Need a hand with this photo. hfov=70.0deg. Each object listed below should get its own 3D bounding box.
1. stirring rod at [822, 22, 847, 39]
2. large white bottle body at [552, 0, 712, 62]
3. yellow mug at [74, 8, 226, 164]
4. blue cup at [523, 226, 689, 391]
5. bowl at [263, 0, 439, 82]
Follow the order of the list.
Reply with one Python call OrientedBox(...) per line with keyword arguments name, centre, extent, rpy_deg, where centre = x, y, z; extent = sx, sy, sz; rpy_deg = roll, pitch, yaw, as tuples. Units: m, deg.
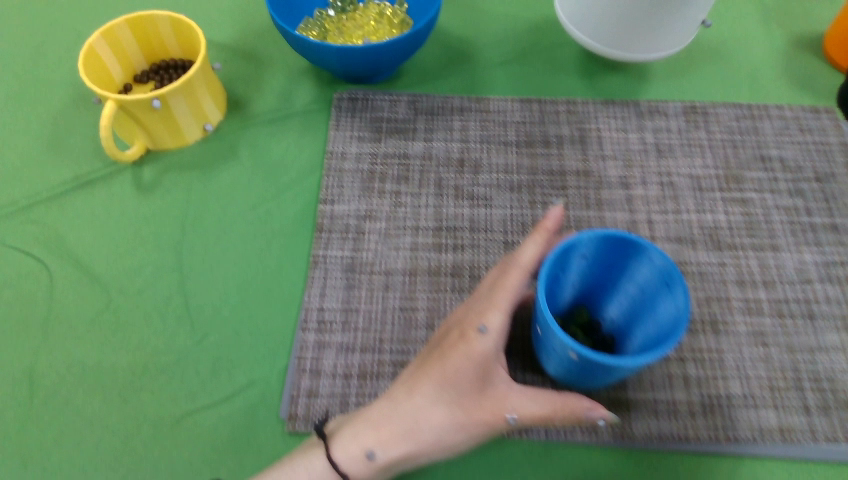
OrientedBox(name="stirring rod", centre=(0.441, -0.203, 0.516), extent=(0.175, 0.006, 0.014), rpy_deg=(-6, 50, 46))
OrientedBox(name="large white bottle body", centre=(0.177, -0.243, 0.453), extent=(0.131, 0.186, 0.129), rpy_deg=(1, 64, -2))
OrientedBox(name="yellow mug", centre=(-0.229, -0.121, 0.501), extent=(0.100, 0.064, 0.130), rpy_deg=(13, 62, 6))
OrientedBox(name="blue cup", centre=(0.106, 0.053, 0.383), extent=(0.092, 0.101, 0.092), rpy_deg=(0, 61, 1))
OrientedBox(name="bowl", centre=(-0.060, -0.196, 0.538), extent=(0.151, 0.077, 0.150), rpy_deg=(1, 60, -1))
